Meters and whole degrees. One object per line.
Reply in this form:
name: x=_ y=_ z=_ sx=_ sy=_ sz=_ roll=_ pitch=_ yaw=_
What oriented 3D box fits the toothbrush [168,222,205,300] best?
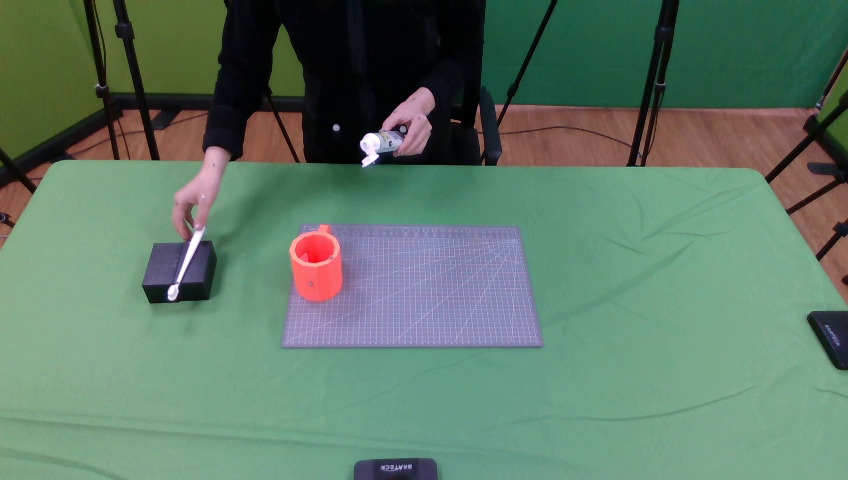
toothbrush: x=-0.419 y=0.032 z=1.070 sx=0.014 sy=0.017 sz=0.180 roll=2 pitch=46 yaw=2

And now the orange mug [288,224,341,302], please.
orange mug: x=-0.192 y=0.034 z=1.094 sx=0.083 sy=0.101 sz=0.125 roll=7 pitch=50 yaw=2

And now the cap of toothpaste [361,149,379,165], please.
cap of toothpaste: x=-0.091 y=-0.138 z=1.007 sx=0.037 sy=0.011 sz=0.037 roll=-33 pitch=18 yaw=13

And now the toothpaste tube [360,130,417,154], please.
toothpaste tube: x=-0.066 y=-0.177 z=1.084 sx=0.055 sy=0.034 sz=0.165 roll=41 pitch=26 yaw=9
